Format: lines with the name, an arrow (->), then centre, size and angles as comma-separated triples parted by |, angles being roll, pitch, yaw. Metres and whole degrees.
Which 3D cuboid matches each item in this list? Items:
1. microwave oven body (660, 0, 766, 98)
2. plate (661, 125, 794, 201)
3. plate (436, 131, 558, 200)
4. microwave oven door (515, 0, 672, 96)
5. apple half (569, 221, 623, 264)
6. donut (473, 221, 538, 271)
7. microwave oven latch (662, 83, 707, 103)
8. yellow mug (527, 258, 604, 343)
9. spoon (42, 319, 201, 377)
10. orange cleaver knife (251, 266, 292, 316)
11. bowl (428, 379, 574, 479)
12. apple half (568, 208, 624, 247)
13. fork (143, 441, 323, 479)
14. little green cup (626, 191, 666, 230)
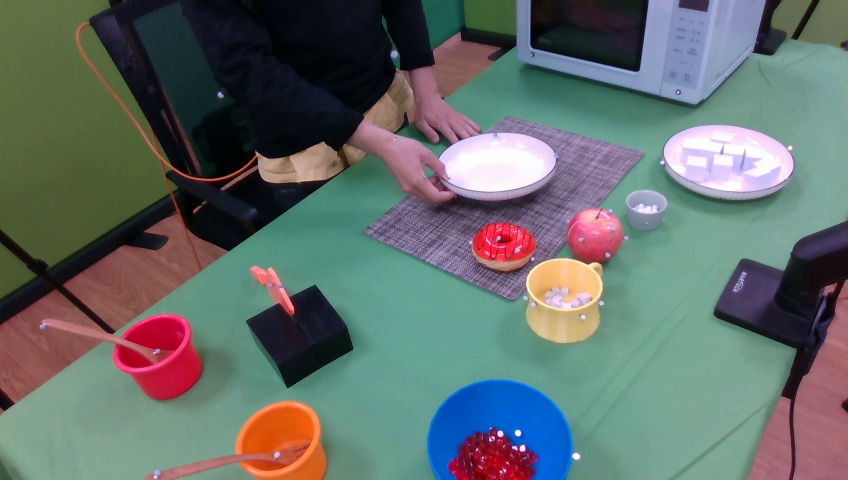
microwave oven body -> 0.472, -0.513, 1.317 | 0.438, 0.261, 0.327 | 26, 51, 34
plate -> 0.513, -0.128, 1.035 | 0.207, 0.039, 0.206 | -4, 40, 4
plate -> 0.126, -0.125, 1.049 | 0.209, 0.038, 0.208 | -4, 36, 4
microwave oven door -> 0.343, -0.454, 1.259 | 0.353, 0.245, 0.039 | 26, 51, 33
apple half -> 0.251, 0.010, 0.884 | 0.081, 0.081, 0.032 | 3, 37, 12
donut -> 0.124, 0.008, 0.923 | 0.099, 0.048, 0.098 | -4, 38, 4
microwave oven latch -> 0.517, -0.296, 1.204 | 0.078, 0.029, 0.030 | 27, 52, 35
yellow mug -> 0.201, 0.073, 0.825 | 0.131, 0.064, 0.099 | -32, 46, -27
spoon -> -0.385, 0.135, 0.779 | 0.195, 0.021, 0.041 | 29, 37, -26
orange cleaver knife -> -0.221, 0.071, 0.873 | 0.012, 0.077, 0.210 | -25, 11, -21
bowl -> 0.082, 0.233, 0.644 | 0.151, 0.077, 0.150 | -4, 39, 4
apple half -> 0.259, -0.014, 0.914 | 0.080, 0.075, 0.053 | 0, 36, 15
fork -> -0.189, 0.231, 0.631 | 0.028, 0.018, 0.209 | 36, 13, 37
little green cup -> 0.352, -0.046, 0.963 | 0.061, 0.039, 0.061 | -4, 40, 4
